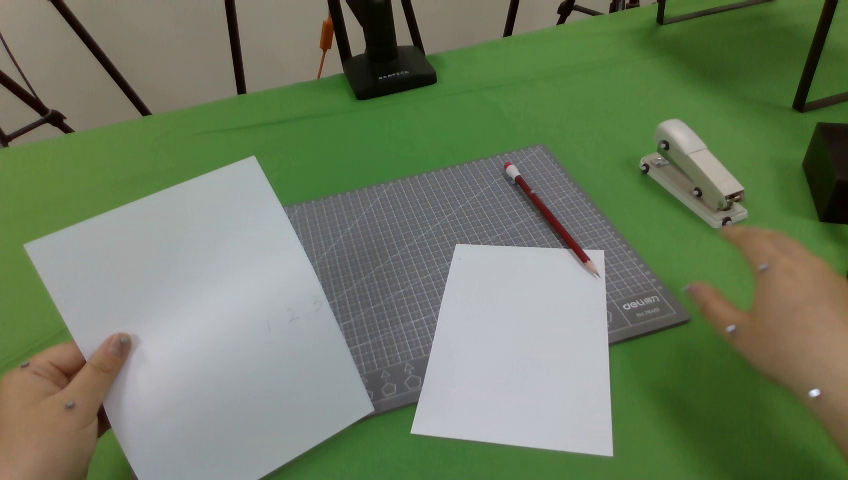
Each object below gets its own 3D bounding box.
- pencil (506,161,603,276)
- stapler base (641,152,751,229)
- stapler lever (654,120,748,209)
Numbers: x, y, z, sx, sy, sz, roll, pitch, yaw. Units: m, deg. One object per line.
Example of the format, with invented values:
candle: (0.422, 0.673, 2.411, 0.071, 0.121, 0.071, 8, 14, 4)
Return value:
pencil: (0.128, -0.027, 0.611, 0.012, 0.012, 0.191, -17, 44, -11)
stapler base: (0.276, -0.061, 0.623, 0.041, 0.025, 0.129, -20, 44, -10)
stapler lever: (0.274, -0.079, 0.605, 0.027, 0.040, 0.116, -20, 44, -10)
